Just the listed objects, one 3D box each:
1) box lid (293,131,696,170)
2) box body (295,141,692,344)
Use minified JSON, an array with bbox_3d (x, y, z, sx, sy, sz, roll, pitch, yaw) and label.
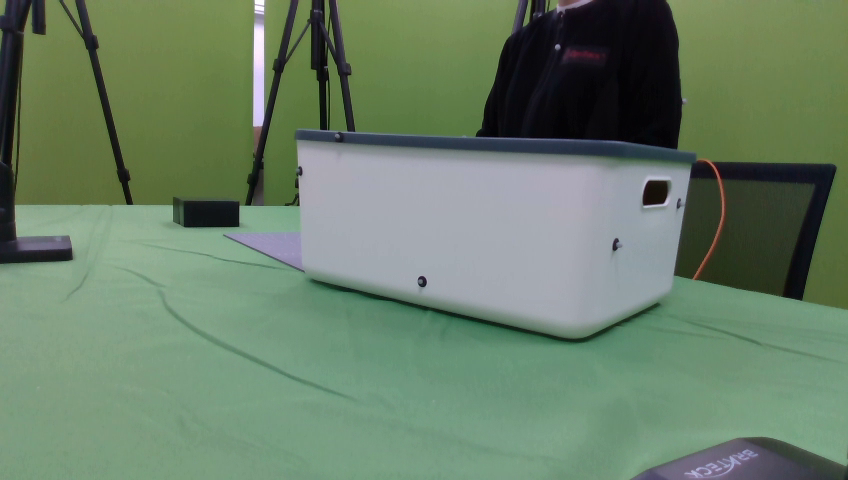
[{"bbox_3d":[0.069,-0.094,0.645,0.369,0.015,0.265,9,9,37],"label":"box lid"},{"bbox_3d":[0.065,-0.020,0.653,0.362,0.160,0.255,9,9,36],"label":"box body"}]
